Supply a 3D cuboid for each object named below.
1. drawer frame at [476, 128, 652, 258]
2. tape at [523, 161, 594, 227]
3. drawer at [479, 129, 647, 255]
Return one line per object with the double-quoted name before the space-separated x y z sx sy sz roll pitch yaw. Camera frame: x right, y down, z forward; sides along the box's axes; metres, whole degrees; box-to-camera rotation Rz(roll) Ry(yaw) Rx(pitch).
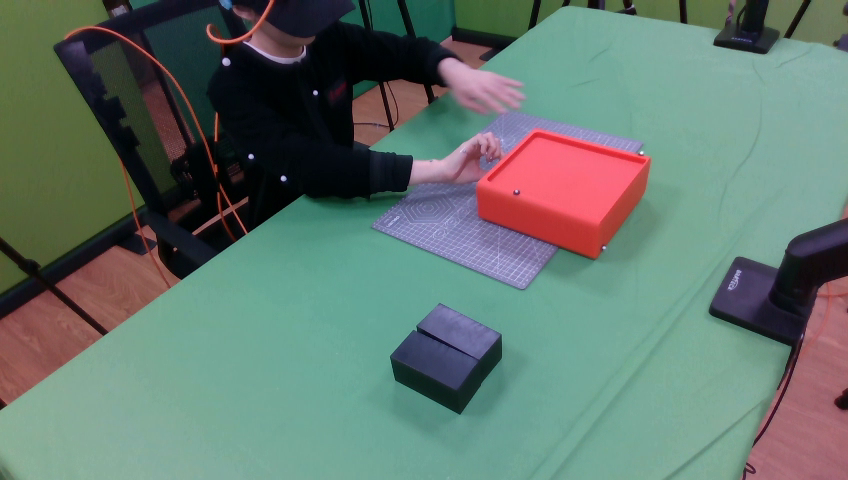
"drawer frame" 0.229 -0.086 0.992 0.212 0.083 0.202 22 48 29
"tape" 0.221 -0.077 0.996 0.117 0.053 0.116 -4 41 4
"drawer" 0.228 -0.085 0.995 0.210 0.073 0.195 23 48 29
